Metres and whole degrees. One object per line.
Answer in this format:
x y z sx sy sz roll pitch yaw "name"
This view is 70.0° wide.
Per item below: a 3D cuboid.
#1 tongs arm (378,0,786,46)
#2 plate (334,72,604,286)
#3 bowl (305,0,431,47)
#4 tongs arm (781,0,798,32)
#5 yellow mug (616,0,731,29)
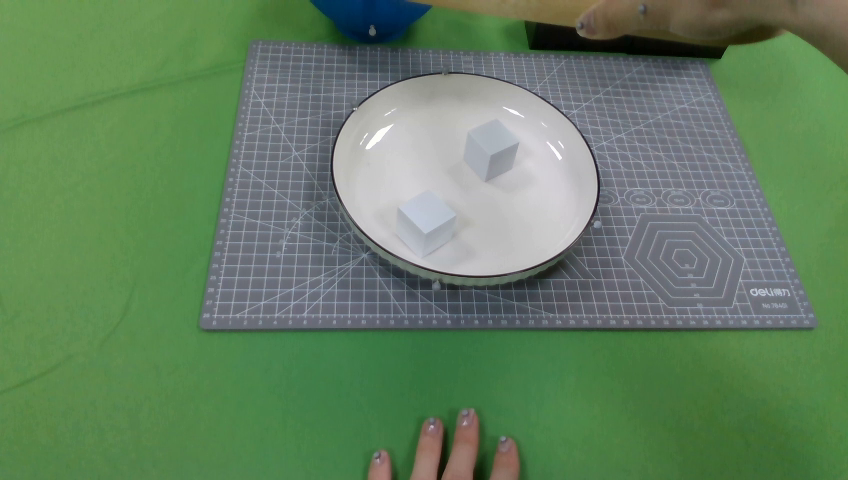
0.042 -0.172 0.420 0.028 0.028 0.383 -36 42 -27 "tongs arm"
0.035 -0.049 0.481 0.208 0.039 0.205 3 56 -3 "plate"
-0.051 -0.241 0.579 0.151 0.077 0.150 2 56 -3 "bowl"
0.086 -0.204 0.440 0.051 0.027 0.380 -34 42 -20 "tongs arm"
0.233 -0.251 0.561 0.131 0.064 0.099 -13 58 -13 "yellow mug"
